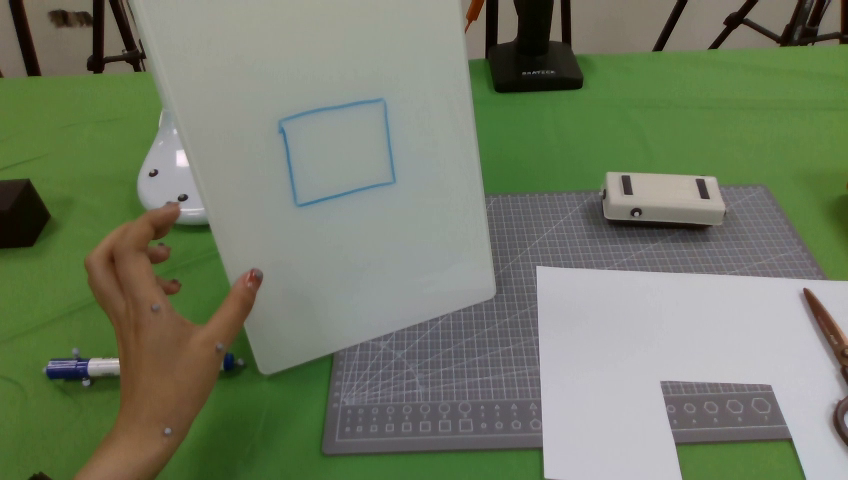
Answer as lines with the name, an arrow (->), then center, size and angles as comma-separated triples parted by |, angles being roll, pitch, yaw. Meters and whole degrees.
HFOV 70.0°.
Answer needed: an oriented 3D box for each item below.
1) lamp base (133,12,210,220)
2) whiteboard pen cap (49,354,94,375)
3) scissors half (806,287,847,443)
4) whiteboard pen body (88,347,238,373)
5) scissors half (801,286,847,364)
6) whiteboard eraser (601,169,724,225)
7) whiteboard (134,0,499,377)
lamp base -> -0.250, -0.138, 0.639 | 0.177, 0.182, 0.160 | 28, 51, 31
whiteboard pen cap -> -0.287, 0.102, 0.498 | 0.033, 0.018, 0.018 | 0, 43, -7
scissors half -> 0.333, 0.100, 0.483 | 0.040, 0.013, 0.174 | 0, 42, 13
whiteboard pen body -> -0.227, 0.100, 0.502 | 0.141, 0.017, 0.017 | -2, 43, -5
scissors half -> 0.353, 0.098, 0.481 | 0.040, 0.013, 0.173 | -8, 41, -5
whiteboard eraser -> 0.239, -0.042, 0.614 | 0.112, 0.042, 0.055 | 3, 42, 6
whiteboard -> -0.078, -0.077, 0.519 | 0.217, 0.308, 0.142 | -17, 26, -13
